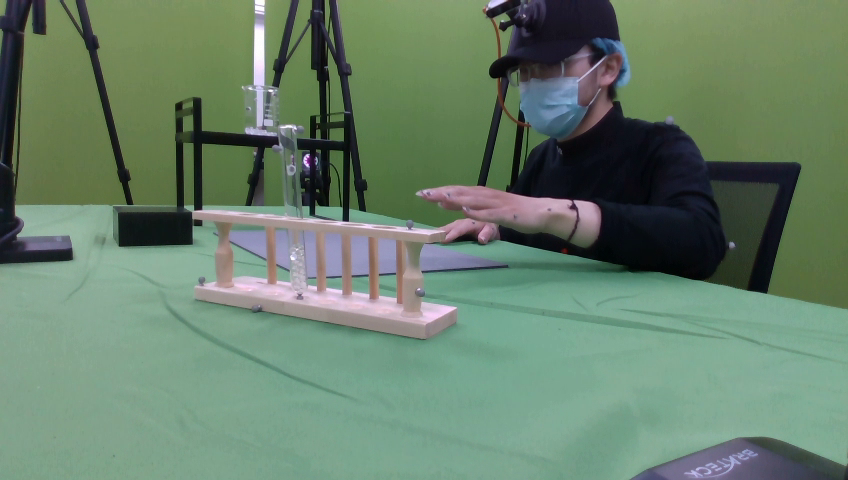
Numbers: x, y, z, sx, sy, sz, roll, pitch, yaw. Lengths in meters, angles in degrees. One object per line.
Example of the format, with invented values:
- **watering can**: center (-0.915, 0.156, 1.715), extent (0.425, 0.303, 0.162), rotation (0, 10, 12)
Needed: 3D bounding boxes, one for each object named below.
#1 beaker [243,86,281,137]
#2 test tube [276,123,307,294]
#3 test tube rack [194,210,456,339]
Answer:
- **beaker**: center (-0.338, -0.265, 1.253), extent (0.073, 0.100, 0.084), rotation (8, 9, 38)
- **test tube**: center (-0.116, -0.027, 0.533), extent (0.017, 0.150, 0.017), rotation (-3, 7, 1)
- **test tube rack**: center (-0.093, 0.023, 0.546), extent (0.241, 0.085, 0.067), rotation (6, 8, 25)
